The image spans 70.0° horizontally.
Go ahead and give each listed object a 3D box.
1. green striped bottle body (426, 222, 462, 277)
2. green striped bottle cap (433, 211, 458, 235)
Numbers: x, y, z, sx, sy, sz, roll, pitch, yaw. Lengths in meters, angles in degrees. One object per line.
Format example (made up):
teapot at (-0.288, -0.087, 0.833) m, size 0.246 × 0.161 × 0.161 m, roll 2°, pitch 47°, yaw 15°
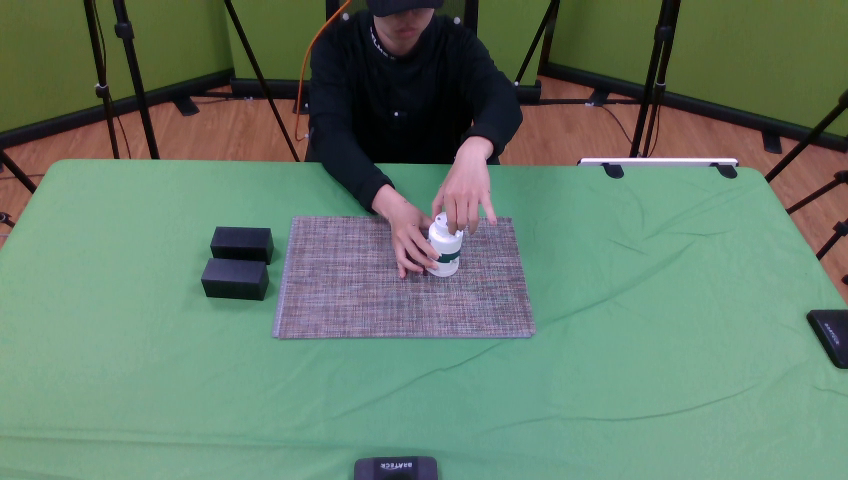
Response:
green striped bottle body at (0.037, 0.008, 1.121) m, size 0.063 × 0.120 × 0.063 m, roll 2°, pitch 46°, yaw -2°
green striped bottle cap at (0.039, -0.031, 1.083) m, size 0.044 × 0.020 × 0.044 m, roll 5°, pitch 45°, yaw -5°
